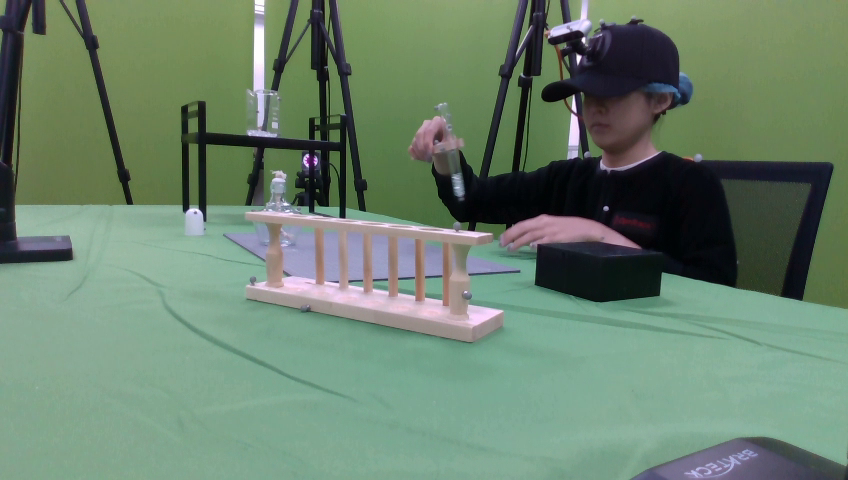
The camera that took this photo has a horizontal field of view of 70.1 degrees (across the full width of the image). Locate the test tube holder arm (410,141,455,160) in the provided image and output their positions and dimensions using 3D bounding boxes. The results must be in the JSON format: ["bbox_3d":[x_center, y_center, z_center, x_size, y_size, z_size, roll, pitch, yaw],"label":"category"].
[{"bbox_3d":[0.010,-0.150,1.017,0.013,0.015,0.177,-7,5,-23],"label":"test tube holder arm"}]

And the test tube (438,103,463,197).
[{"bbox_3d":[0.042,-0.142,0.957,0.017,0.150,0.017,-10,7,2],"label":"test tube"}]

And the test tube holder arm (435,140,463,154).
[{"bbox_3d":[0.035,-0.149,0.979,0.010,0.015,0.087,-9,5,-30],"label":"test tube holder arm"}]

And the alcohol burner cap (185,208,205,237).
[{"bbox_3d":[-0.391,-0.031,1.032,0.034,0.048,0.034,3,8,0],"label":"alcohol burner cap"}]

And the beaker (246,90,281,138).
[{"bbox_3d":[-0.354,-0.275,1.322,0.074,0.100,0.084,4,8,12],"label":"beaker"}]

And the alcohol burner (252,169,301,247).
[{"bbox_3d":[-0.228,-0.050,0.937,0.078,0.119,0.078,1,7,0],"label":"alcohol burner"}]

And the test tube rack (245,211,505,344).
[{"bbox_3d":[-0.049,0.025,0.547,0.241,0.085,0.067,7,8,29],"label":"test tube rack"}]
